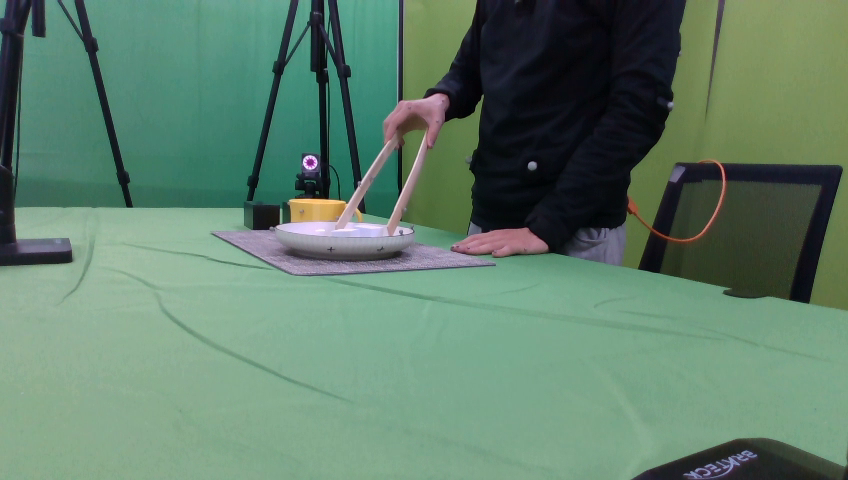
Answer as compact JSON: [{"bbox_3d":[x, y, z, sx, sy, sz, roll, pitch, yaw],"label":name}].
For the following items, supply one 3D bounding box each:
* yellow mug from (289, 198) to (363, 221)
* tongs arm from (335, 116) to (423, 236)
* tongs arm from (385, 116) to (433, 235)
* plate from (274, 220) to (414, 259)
[{"bbox_3d":[-0.174,-0.039,1.071,0.131,0.064,0.100,3,7,0],"label":"yellow mug"},{"bbox_3d":[-0.068,-0.124,1.048,0.050,0.026,0.385,0,35,15],"label":"tongs arm"},{"bbox_3d":[-0.023,-0.122,1.037,0.028,0.028,0.387,-4,34,15],"label":"tongs arm"},{"bbox_3d":[-0.118,-0.001,0.902,0.208,0.039,0.207,2,7,0],"label":"plate"}]
